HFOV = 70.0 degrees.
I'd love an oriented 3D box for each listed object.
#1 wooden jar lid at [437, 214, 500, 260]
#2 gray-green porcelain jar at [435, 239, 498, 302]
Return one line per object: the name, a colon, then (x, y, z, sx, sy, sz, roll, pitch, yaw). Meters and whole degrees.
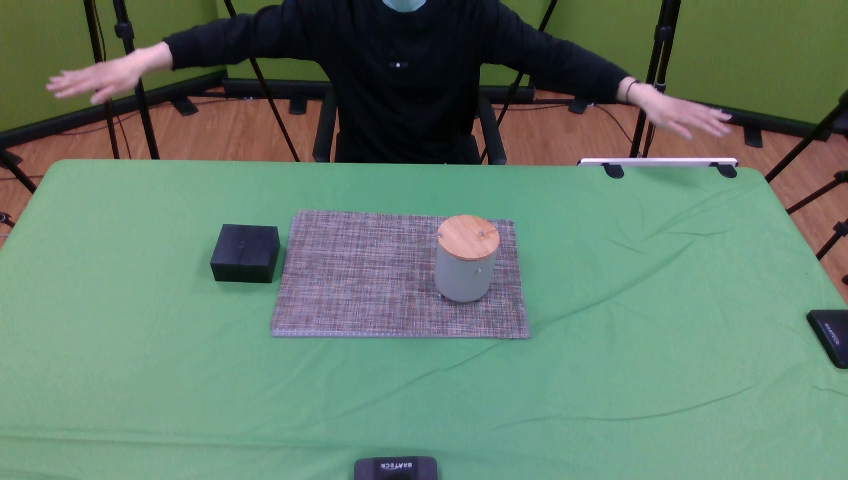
wooden jar lid: (0.076, -0.002, 1.038, 0.108, 0.021, 0.107, 2, 44, -1)
gray-green porcelain jar: (0.073, 0.041, 1.083, 0.106, 0.127, 0.105, 2, 46, -2)
